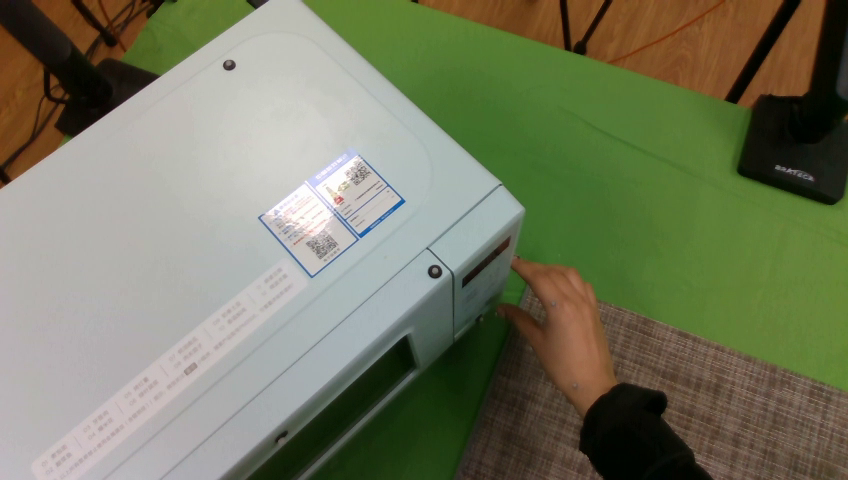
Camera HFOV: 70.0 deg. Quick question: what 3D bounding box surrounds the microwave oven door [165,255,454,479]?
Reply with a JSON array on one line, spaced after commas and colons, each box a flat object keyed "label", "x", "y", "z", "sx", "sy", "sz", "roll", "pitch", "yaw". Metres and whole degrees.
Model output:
[{"label": "microwave oven door", "x": -0.115, "y": 0.169, "z": 0.513, "sx": 0.355, "sy": 0.245, "sz": 0.039, "roll": -41, "pitch": 72, "yaw": -13}]

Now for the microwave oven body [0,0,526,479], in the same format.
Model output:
[{"label": "microwave oven body", "x": -0.182, "y": 0.045, "z": 0.569, "sx": 0.441, "sy": 0.262, "sz": 0.324, "roll": -41, "pitch": 73, "yaw": -12}]

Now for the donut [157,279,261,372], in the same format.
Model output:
[{"label": "donut", "x": -0.214, "y": 0.085, "z": 0.605, "sx": 0.099, "sy": 0.048, "sz": 0.098, "roll": 5, "pitch": 57, "yaw": -7}]

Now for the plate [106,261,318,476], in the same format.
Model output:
[{"label": "plate", "x": -0.199, "y": 0.120, "z": 0.584, "sx": 0.209, "sy": 0.038, "sz": 0.207, "roll": -4, "pitch": 63, "yaw": 9}]

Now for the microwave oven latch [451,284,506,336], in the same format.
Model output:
[{"label": "microwave oven latch", "x": 0.053, "y": 0.067, "z": 0.655, "sx": 0.079, "sy": 0.030, "sz": 0.030, "roll": -41, "pitch": 73, "yaw": -12}]
